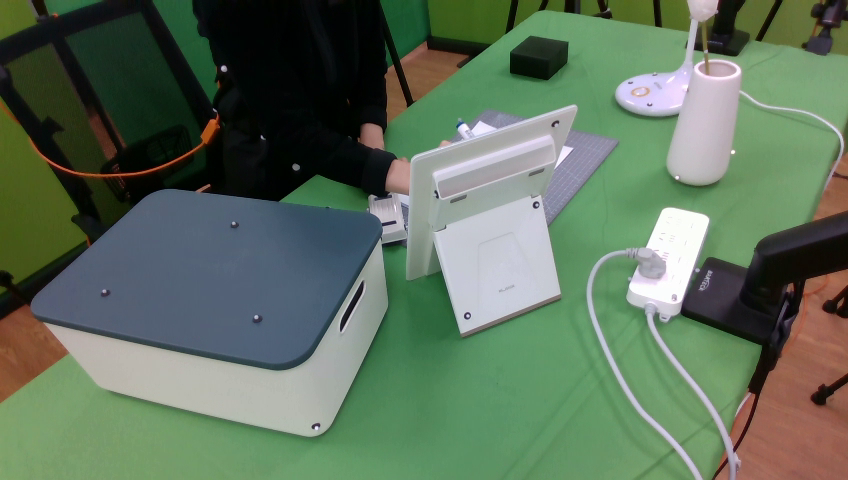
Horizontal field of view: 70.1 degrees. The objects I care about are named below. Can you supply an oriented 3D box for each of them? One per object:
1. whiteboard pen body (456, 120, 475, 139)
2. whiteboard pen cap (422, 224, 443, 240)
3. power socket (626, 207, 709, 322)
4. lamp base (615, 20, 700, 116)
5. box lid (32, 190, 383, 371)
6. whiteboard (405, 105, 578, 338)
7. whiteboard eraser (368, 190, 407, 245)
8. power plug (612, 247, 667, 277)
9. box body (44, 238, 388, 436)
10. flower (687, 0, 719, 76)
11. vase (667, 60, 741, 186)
[{"bbox_3d":[0.090,-0.115,0.864,0.017,0.017,0.140,-28,73,-23],"label":"whiteboard pen body"},{"bbox_3d":[0.013,-0.013,0.988,0.033,0.018,0.018,-30,46,-21],"label":"whiteboard pen cap"},{"bbox_3d":[0.360,0.026,0.886,0.072,0.033,0.227,17,46,27],"label":"power socket"},{"bbox_3d":[0.484,-0.364,1.211,0.180,0.181,0.159,-15,41,-14],"label":"lamp base"},{"bbox_3d":[-0.257,0.032,0.750,0.370,0.015,0.263,7,41,16],"label":"box lid"},{"bbox_3d":[0.102,0.003,0.787,0.218,0.306,0.143,-19,62,-14],"label":"whiteboard"},{"bbox_3d":[-0.061,-0.035,1.006,0.056,0.042,0.112,-9,40,-4],"label":"whiteboard eraser"},{"bbox_3d":[0.306,0.031,0.852,0.072,0.053,0.035,21,48,38],"label":"power plug"},{"bbox_3d":[-0.251,0.088,0.799,0.362,0.161,0.254,7,42,16],"label":"box body"},{"bbox_3d":[0.436,-0.242,0.934,0.038,0.364,0.043,-24,49,9],"label":"flower"},{"bbox_3d":[0.463,-0.189,0.994,0.098,0.201,0.097,-4,40,4],"label":"vase"}]
